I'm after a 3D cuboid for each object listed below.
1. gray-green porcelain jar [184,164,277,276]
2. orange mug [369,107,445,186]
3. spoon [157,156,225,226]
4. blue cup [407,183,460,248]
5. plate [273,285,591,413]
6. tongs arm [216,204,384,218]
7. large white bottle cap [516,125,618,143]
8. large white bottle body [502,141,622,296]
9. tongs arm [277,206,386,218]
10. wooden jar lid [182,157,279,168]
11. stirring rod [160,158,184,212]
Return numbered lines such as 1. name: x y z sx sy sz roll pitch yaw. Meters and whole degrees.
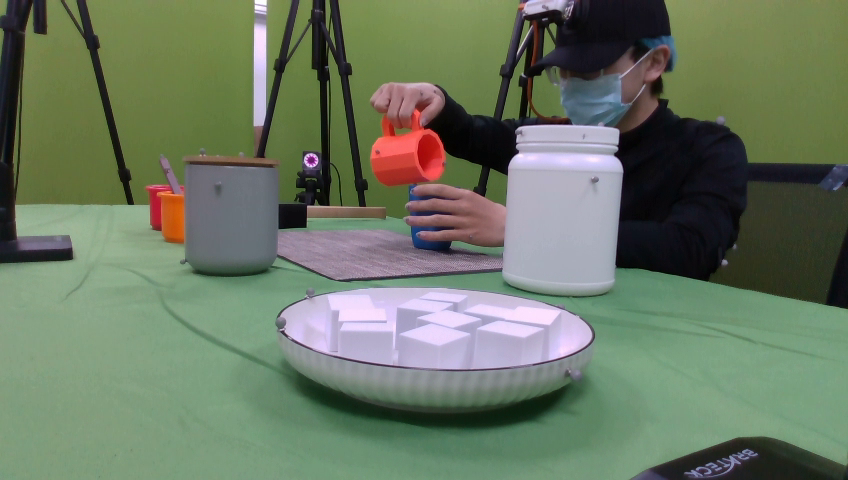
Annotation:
1. gray-green porcelain jar: -0.230 -0.025 0.722 0.106 0.126 0.106 3 7 0
2. orange mug: -0.030 -0.156 1.013 0.100 0.126 0.084 2 17 36
3. spoon: -0.425 -0.094 1.118 0.041 0.022 0.194 4 51 30
4. blue cup: 0.015 -0.040 0.973 0.093 0.100 0.092 1 5 0
5. plate: 0.005 0.069 0.408 0.208 0.039 0.207 2 7 0
6. tongs arm: -0.288 -0.068 1.435 0.389 0.027 0.028 0 -1 -17
7. large white bottle cap: 0.163 -0.120 0.695 0.115 0.018 0.115 2 8 0
8. large white bottle body: 0.161 -0.037 0.706 0.131 0.184 0.130 2 7 0
9. tongs arm: -0.252 -0.062 1.360 0.387 0.026 0.050 -1 3 -31
10. wooden jar lid: -0.227 -0.086 0.714 0.108 0.020 0.108 1 6 0
11. stirring rod: -0.391 -0.070 0.972 0.014 0.006 0.175 -2 50 -48
